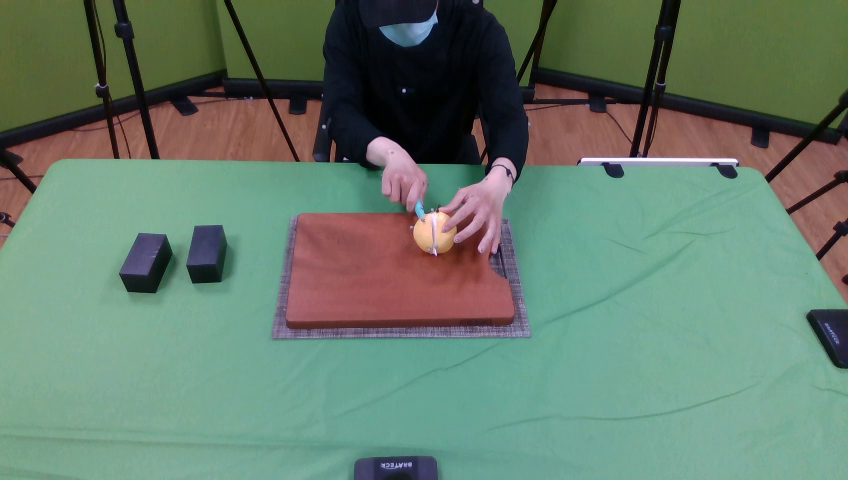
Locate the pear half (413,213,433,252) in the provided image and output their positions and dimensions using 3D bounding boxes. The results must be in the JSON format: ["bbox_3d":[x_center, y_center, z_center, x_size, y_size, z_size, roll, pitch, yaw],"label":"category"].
[{"bbox_3d":[-0.003,-0.014,1.122,0.031,0.088,0.070,-16,53,-11],"label":"pear half"}]

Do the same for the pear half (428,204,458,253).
[{"bbox_3d":[0.036,-0.028,1.122,0.056,0.110,0.076,-11,51,-16],"label":"pear half"}]

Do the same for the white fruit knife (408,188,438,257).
[{"bbox_3d":[-0.001,-0.037,1.166,0.016,0.027,0.206,-6,42,-15],"label":"white fruit knife"}]
